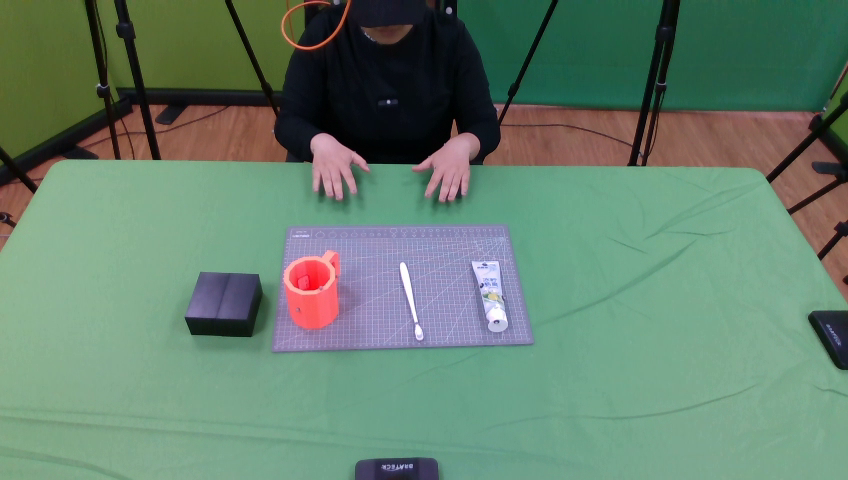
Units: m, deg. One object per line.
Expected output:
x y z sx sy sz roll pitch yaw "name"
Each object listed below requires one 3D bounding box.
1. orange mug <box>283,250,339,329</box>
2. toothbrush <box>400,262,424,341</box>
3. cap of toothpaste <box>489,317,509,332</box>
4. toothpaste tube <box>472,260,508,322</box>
-0.186 0.078 1.052 0.083 0.101 0.126 20 52 15 "orange mug"
-0.025 0.106 1.093 0.014 0.017 0.180 -18 46 2 "toothbrush"
0.130 0.146 1.050 0.037 0.037 0.011 -1 42 -5 "cap of toothpaste"
0.126 0.094 1.109 0.055 0.034 0.164 3 41 -9 "toothpaste tube"
